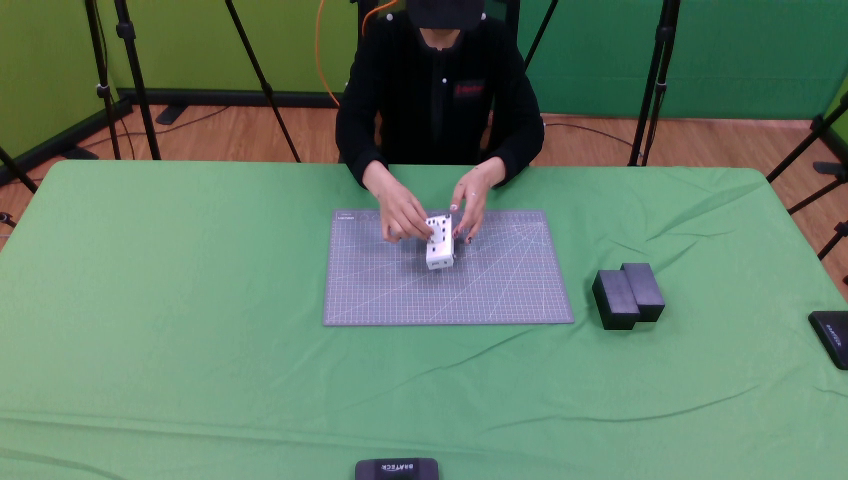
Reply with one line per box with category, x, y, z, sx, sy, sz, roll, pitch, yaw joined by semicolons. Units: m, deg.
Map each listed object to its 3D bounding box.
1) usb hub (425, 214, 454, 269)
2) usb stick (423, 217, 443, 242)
usb hub;0.031;0.001;1.159;0.049;0.025;0.124;-10;41;13
usb stick;0.019;-0.015;1.135;0.027;0.059;0.021;-11;41;12
